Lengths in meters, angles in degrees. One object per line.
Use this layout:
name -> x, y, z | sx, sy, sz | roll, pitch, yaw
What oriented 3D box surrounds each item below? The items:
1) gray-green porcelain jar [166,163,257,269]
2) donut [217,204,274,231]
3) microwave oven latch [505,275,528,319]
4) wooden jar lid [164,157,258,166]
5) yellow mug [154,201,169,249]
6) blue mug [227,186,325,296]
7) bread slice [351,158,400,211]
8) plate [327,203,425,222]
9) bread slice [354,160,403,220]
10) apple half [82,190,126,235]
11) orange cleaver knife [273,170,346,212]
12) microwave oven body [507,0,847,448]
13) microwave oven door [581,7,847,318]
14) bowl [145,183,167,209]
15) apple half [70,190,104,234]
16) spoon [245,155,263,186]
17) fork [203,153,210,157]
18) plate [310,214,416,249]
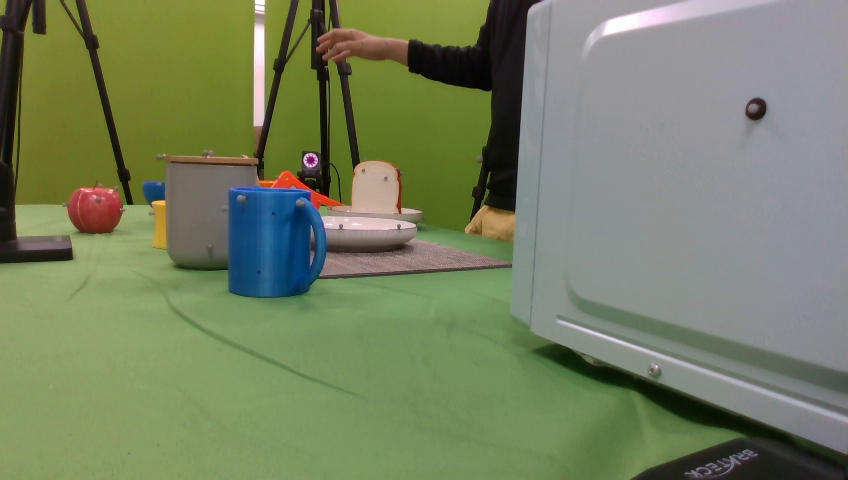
gray-green porcelain jar -> -0.263, -0.031, 0.754 | 0.106, 0.126, 0.106 | 2, 7, 0
donut -> -0.317, -0.038, 1.080 | 0.099, 0.048, 0.099 | 3, 7, 0
microwave oven latch -> 0.100, 0.042, 0.471 | 0.079, 0.029, 0.030 | -1, 8, -28
wooden jar lid -> -0.261, -0.093, 0.746 | 0.108, 0.020, 0.108 | 0, 9, 0
yellow mug -> -0.337, -0.022, 0.899 | 0.130, 0.064, 0.100 | 8, 9, 34
blue mug -> -0.147, 0.000, 0.618 | 0.116, 0.106, 0.083 | 7, 9, 32
bread slice -> -0.102, -0.104, 1.274 | 0.107, 0.134, 0.018 | -1, 5, 4
plate -> -0.102, -0.053, 1.299 | 0.209, 0.038, 0.209 | 2, 7, 0
bread slice -> -0.095, -0.110, 1.325 | 0.105, 0.131, 0.019 | 5, 2, 5
apple half -> -0.516, -0.046, 0.994 | 0.032, 0.081, 0.081 | 0, 6, 26
orange cleaver knife -> -0.253, -0.089, 1.368 | 0.212, 0.077, 0.012 | 26, -8, -42
microwave oven body -> 0.331, -0.042, 0.425 | 0.444, 0.260, 0.324 | -2, 8, -31
microwave oven door -> 0.295, -0.067, 0.569 | 0.358, 0.243, 0.039 | -3, 8, -31
bowl -> -0.459, -0.068, 1.175 | 0.151, 0.077, 0.151 | 3, 7, 0
apple half -> -0.552, -0.047, 1.009 | 0.053, 0.074, 0.081 | 0, 9, 26
spoon -> -0.421, -0.150, 1.540 | 0.042, 0.021, 0.193 | -5, 55, -37
fork -> -0.480, -0.136, 1.411 | 0.028, 0.018, 0.207 | 0, -34, -1
plate -> -0.117, -0.014, 0.967 | 0.208, 0.039, 0.207 | 2, 7, 0
